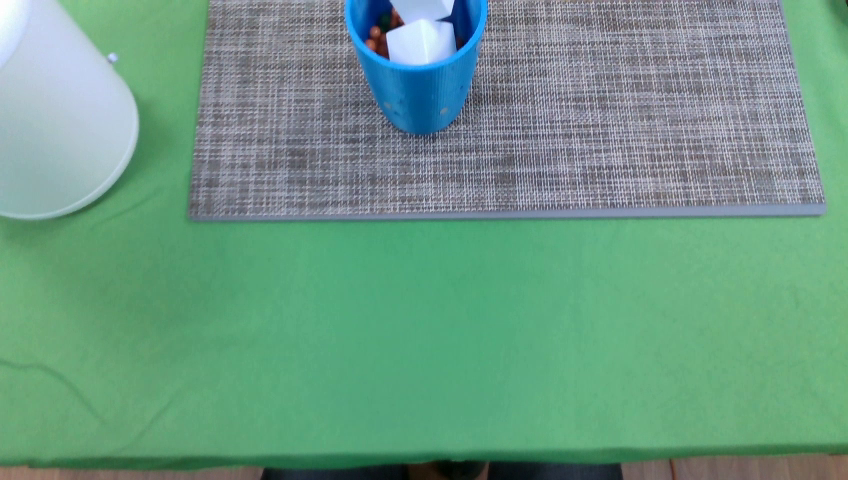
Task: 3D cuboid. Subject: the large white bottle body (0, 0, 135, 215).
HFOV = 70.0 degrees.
[{"bbox_3d":[-0.270,-0.103,0.350,0.131,0.185,0.130,0,73,-1],"label":"large white bottle body"}]
